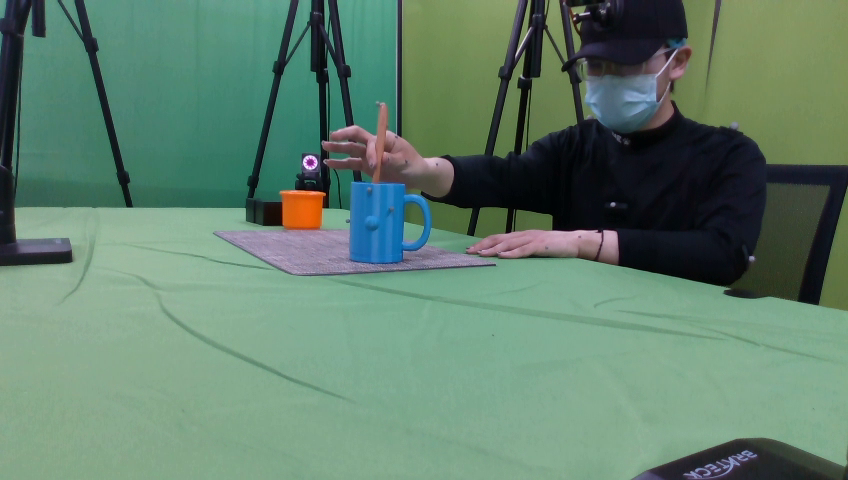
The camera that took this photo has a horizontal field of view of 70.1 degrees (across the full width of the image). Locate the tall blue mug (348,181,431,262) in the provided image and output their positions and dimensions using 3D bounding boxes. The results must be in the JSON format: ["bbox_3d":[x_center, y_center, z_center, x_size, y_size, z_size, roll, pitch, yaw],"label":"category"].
[{"bbox_3d":[-0.052,-0.028,0.849,0.108,0.108,0.077,-1,7,-22],"label":"tall blue mug"}]

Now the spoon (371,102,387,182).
[{"bbox_3d":[-0.067,-0.101,0.851,0.042,0.193,0.021,8,-4,-13],"label":"spoon"}]
